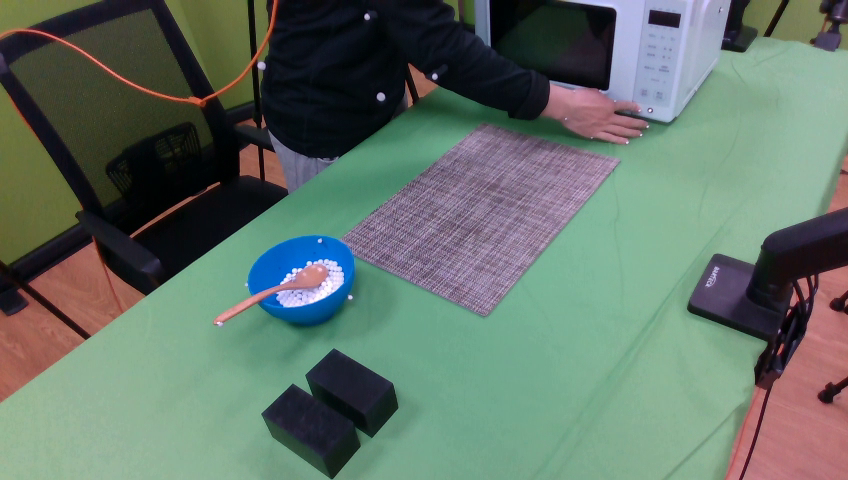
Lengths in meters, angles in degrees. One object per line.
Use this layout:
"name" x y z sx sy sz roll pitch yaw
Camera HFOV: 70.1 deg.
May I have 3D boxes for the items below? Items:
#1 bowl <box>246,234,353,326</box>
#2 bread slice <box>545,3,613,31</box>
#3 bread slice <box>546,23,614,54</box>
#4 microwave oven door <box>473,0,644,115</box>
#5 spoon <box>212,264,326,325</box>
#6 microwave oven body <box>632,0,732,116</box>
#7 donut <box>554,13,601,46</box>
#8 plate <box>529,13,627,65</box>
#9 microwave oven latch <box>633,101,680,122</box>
"bowl" -0.170 0.069 0.868 0.151 0.077 0.150 -4 41 4
"bread slice" 0.331 -0.476 1.281 0.131 0.019 0.104 -9 37 1
"bread slice" 0.341 -0.440 1.311 0.135 0.018 0.106 -11 48 -10
"microwave oven door" 0.257 -0.396 1.199 0.353 0.245 0.039 21 48 29
"spoon" -0.207 0.072 0.822 0.041 0.021 0.195 28 29 26
"microwave oven body" 0.377 -0.463 1.267 0.438 0.261 0.327 21 49 30
"donut" 0.328 -0.452 1.296 0.099 0.048 0.098 -5 46 6
"plate" 0.333 -0.433 1.316 0.207 0.039 0.206 -5 42 5
"microwave oven latch" 0.445 -0.250 1.158 0.078 0.029 0.030 24 50 32
